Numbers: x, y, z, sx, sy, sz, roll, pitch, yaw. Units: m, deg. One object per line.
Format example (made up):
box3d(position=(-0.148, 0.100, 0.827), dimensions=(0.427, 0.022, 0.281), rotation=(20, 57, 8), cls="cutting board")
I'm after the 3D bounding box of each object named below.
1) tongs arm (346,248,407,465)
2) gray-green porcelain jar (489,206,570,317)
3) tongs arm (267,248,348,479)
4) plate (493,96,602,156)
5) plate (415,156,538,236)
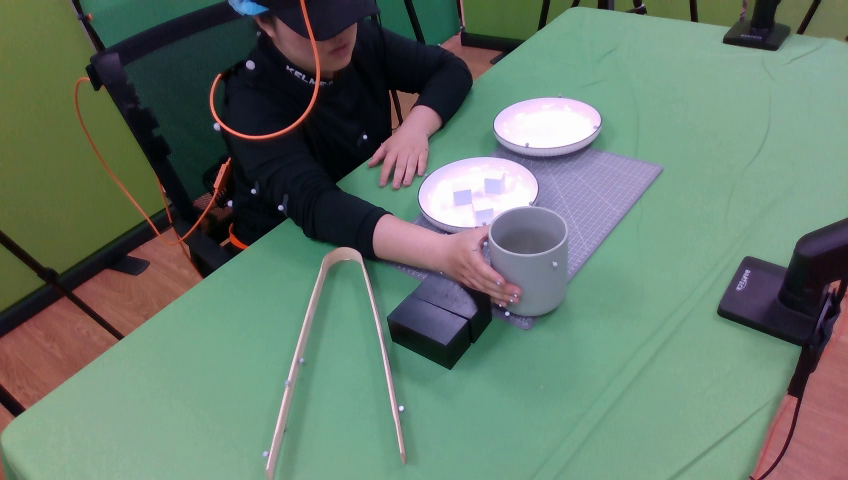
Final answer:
box3d(position=(-0.068, 0.135, 0.834), dimensions=(0.028, 0.028, 0.384), rotation=(-15, 40, -5), cls="tongs arm")
box3d(position=(0.145, 0.034, 0.829), dimensions=(0.106, 0.127, 0.105), rotation=(-5, 40, 5), cls="gray-green porcelain jar")
box3d(position=(-0.151, 0.143, 0.831), dimensions=(0.051, 0.026, 0.383), rotation=(-4, 39, 4), cls="tongs arm")
box3d(position=(0.238, -0.218, 1.179), dimensions=(0.209, 0.038, 0.208), rotation=(-5, 39, 4), cls="plate")
box3d(position=(0.090, -0.072, 1.034), dimensions=(0.207, 0.039, 0.206), rotation=(-5, 40, 5), cls="plate")
